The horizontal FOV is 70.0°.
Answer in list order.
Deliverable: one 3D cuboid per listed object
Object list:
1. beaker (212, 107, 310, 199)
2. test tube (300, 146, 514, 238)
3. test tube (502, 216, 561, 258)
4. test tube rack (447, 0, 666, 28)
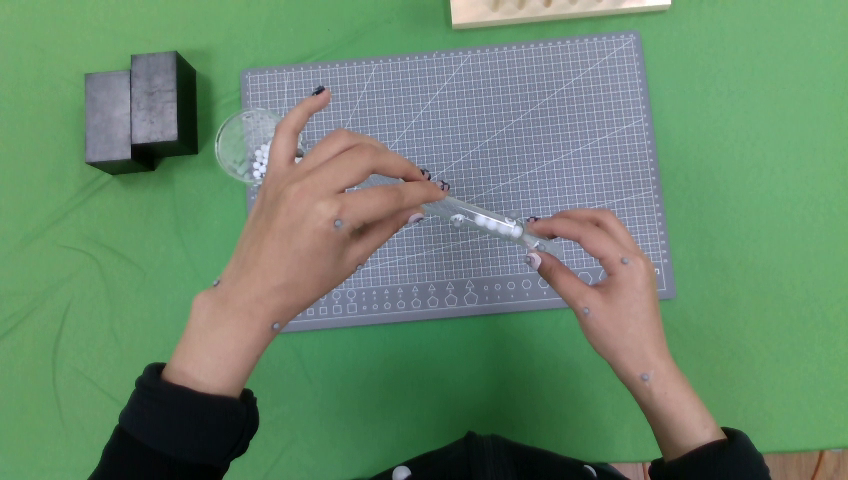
[{"bbox_3d":[-0.160,-0.086,0.625,0.084,0.100,0.073,-13,82,0],"label":"beaker"},{"bbox_3d":[-0.011,-0.032,0.408,0.150,0.017,0.017,19,83,-3],"label":"test tube"},{"bbox_3d":[0.089,0.000,0.483,0.017,0.151,0.017,-3,82,23],"label":"test tube"},{"bbox_3d":[0.144,-0.290,0.648,0.242,0.085,0.066,-5,82,2],"label":"test tube rack"}]
